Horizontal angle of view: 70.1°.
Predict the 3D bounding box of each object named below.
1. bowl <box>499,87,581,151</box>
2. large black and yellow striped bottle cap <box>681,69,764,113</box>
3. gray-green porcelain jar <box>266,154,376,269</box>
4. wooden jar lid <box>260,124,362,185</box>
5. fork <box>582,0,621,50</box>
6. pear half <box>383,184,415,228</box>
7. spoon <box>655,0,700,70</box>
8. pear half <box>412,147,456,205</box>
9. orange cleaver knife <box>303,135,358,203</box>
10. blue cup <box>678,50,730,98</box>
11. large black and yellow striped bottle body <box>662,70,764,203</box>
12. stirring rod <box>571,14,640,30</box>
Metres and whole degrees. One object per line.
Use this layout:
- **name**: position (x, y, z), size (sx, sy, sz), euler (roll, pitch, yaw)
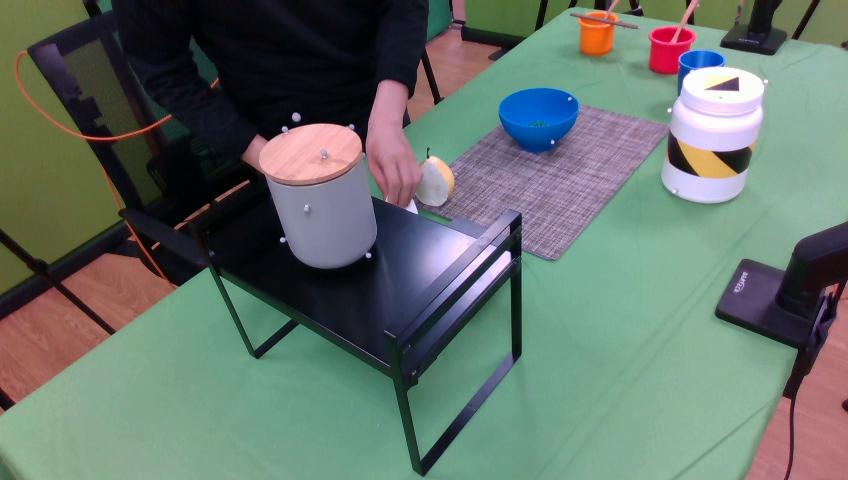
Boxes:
- **bowl**: position (0.220, -0.223, 1.156), size (0.151, 0.077, 0.150), euler (-4, 40, 4)
- **large black and yellow striped bottle cap**: position (0.453, -0.229, 0.921), size (0.115, 0.019, 0.114), euler (-4, 39, 4)
- **gray-green porcelain jar**: position (-0.112, -0.039, 0.685), size (0.106, 0.127, 0.105), euler (-4, 40, 4)
- **wooden jar lid**: position (-0.119, -0.088, 0.644), size (0.108, 0.021, 0.108), euler (-4, 40, 3)
- **fork**: position (0.446, -0.539, 1.438), size (0.207, 0.019, 0.028), euler (-57, 35, 12)
- **pear half**: position (-0.046, -0.049, 0.956), size (0.031, 0.070, 0.088), euler (-20, 13, 34)
- **spoon**: position (0.568, -0.463, 1.337), size (0.041, 0.022, 0.193), euler (30, 97, 37)
- **pear half**: position (0.019, -0.120, 1.042), size (0.076, 0.110, 0.056), euler (12, 44, 16)
- **orange cleaver knife**: position (-0.152, -0.096, 0.971), size (0.077, 0.211, 0.012), euler (45, 59, 1)
- **blue cup**: position (0.542, -0.310, 1.194), size (0.092, 0.101, 0.092), euler (-6, 40, 6)
- **large black and yellow striped bottle body**: position (0.464, -0.166, 0.976), size (0.131, 0.185, 0.130), euler (-5, 41, 5)
- **stirring rod**: position (0.418, -0.508, 1.404), size (0.174, 0.006, 0.014), euler (28, 54, 35)
